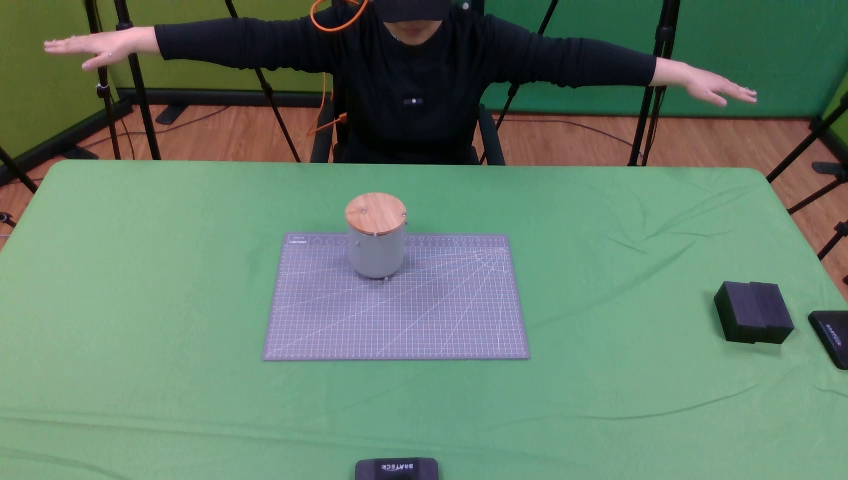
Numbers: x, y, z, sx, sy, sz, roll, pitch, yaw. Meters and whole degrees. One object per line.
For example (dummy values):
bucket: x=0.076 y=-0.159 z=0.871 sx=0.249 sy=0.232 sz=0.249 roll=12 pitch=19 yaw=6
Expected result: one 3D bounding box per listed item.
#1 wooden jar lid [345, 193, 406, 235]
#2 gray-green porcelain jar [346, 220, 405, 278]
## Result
wooden jar lid: x=-0.086 y=-0.043 z=1.071 sx=0.108 sy=0.021 sz=0.107 roll=3 pitch=44 yaw=-3
gray-green porcelain jar: x=-0.089 y=0.000 z=1.116 sx=0.106 sy=0.127 sz=0.105 roll=2 pitch=46 yaw=-2
